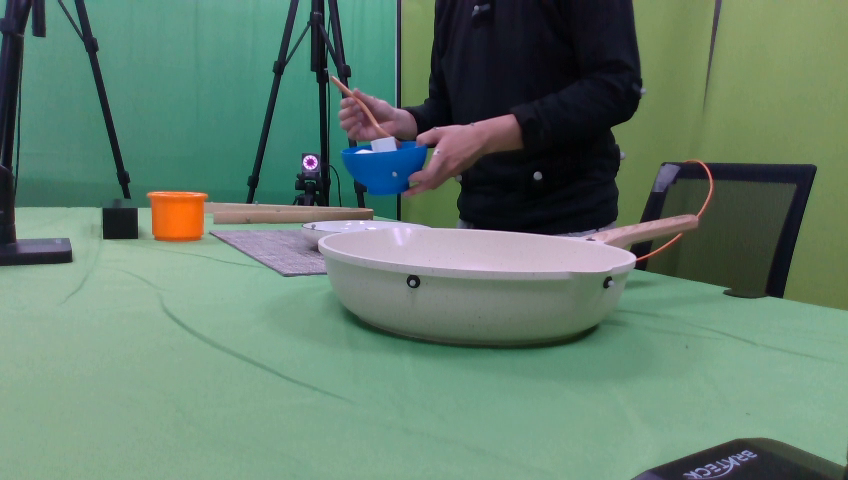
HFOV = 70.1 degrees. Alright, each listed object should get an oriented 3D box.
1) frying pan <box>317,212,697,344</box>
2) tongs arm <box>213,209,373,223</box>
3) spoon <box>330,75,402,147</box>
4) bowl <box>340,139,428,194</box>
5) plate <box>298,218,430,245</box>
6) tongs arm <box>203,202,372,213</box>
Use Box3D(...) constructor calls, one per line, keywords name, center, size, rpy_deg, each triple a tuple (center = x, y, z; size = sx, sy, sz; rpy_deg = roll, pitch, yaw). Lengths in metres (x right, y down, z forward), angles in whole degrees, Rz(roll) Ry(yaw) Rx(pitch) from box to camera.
Box3D(name="frying pan", center=(0.133, 0.013, 0.629), size=(0.490, 0.102, 0.305), rpy_deg=(-12, 14, -31))
Box3D(name="tongs arm", center=(-0.274, -0.053, 1.346), size=(0.390, 0.028, 0.028), rpy_deg=(-2, 7, -37))
Box3D(name="spoon", center=(-0.106, -0.234, 1.091), size=(0.021, 0.193, 0.042), rpy_deg=(-39, -14, -5))
Box3D(name="bowl", center=(-0.064, -0.124, 1.039), size=(0.151, 0.077, 0.151), rpy_deg=(-5, 14, 2))
Box3D(name="plate", center=(-0.091, -0.006, 0.949), size=(0.208, 0.039, 0.207), rpy_deg=(2, 7, 0))
Box3D(name="tongs arm", center=(-0.312, -0.068, 1.417), size=(0.387, 0.026, 0.050), rpy_deg=(1, 8, -24))
